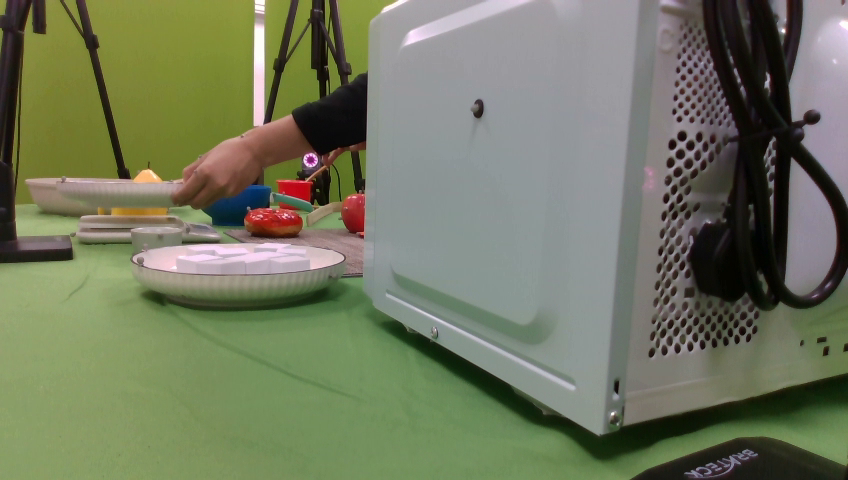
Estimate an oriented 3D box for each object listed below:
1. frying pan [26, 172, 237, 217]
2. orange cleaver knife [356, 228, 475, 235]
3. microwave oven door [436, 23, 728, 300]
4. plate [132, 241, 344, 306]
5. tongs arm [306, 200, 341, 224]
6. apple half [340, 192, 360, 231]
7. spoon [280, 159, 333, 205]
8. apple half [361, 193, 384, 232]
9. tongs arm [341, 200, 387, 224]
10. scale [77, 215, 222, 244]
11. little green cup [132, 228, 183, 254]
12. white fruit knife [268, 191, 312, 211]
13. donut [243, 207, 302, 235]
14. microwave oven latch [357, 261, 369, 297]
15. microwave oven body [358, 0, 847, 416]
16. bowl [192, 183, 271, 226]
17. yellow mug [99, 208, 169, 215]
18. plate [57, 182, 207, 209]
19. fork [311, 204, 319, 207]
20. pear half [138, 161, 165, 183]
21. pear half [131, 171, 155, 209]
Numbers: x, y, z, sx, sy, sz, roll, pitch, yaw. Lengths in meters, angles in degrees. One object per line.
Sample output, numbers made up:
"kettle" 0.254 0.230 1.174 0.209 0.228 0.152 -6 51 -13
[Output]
"frying pan" -0.624 -0.118 1.387 0.305 0.102 0.490 8 17 32
"orange cleaver knife" -0.017 -0.015 1.080 0.211 0.012 0.077 0 2 -2
"microwave oven door" 0.180 -0.073 0.621 0.358 0.243 0.039 -2 9 -29
"plate" -0.187 0.033 0.625 0.208 0.039 0.207 2 8 0
"tongs arm" -0.234 -0.069 1.415 0.028 0.028 0.387 -5 7 1
"apple half" -0.130 -0.054 1.143 0.053 0.074 0.081 0 11 12
"spoon" -0.317 -0.159 1.640 0.194 0.022 0.041 -49 32 -20
"apple half" -0.092 -0.053 1.136 0.033 0.081 0.081 -1 7 13
"tongs arm" -0.149 -0.069 1.430 0.051 0.026 0.383 -3 8 -14
"scale" -0.434 -0.019 0.963 0.202 0.031 0.148 -1 9 -27
"little green cup" -0.342 0.006 0.779 0.061 0.038 0.061 2 8 0
"white fruit knife" -0.364 -0.105 1.464 0.208 0.027 0.016 15 0 -34
"donut" -0.261 -0.032 1.043 0.099 0.048 0.099 3 8 0
"microwave oven latch" -0.019 0.033 0.530 0.079 0.029 0.030 -1 7 -26
"microwave oven body" 0.211 -0.047 0.474 0.444 0.260 0.324 -1 7 -28
"bowl" -0.382 -0.071 1.202 0.151 0.077 0.151 3 7 0
"yellow mug" -0.518 -0.055 1.080 0.099 0.064 0.131 7 10 26
"plate" -0.446 -0.071 0.936 0.209 0.038 0.209 1 6 0
"fork" -0.356 -0.105 1.526 0.208 0.018 0.028 16 -6 -41
"pear half" -0.602 -0.120 1.354 0.056 0.110 0.076 4 11 6
"pear half" -0.638 -0.113 1.361 0.031 0.088 0.070 5 10 4
